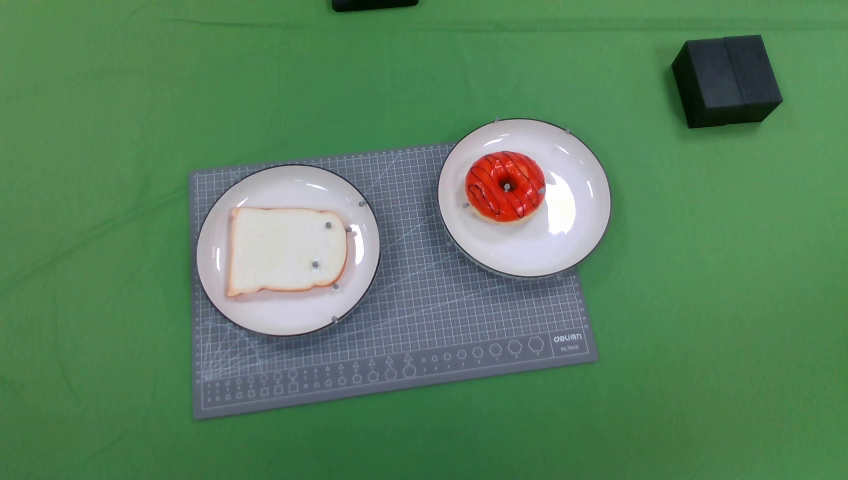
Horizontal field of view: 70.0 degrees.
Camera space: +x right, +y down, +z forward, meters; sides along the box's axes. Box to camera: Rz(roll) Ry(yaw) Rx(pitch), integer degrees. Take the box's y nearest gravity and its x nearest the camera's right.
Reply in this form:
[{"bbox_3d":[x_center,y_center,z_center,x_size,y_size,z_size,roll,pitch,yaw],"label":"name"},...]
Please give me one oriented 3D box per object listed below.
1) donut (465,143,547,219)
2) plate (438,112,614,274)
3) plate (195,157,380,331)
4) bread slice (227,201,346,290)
[{"bbox_3d":[0.097,-0.071,0.721,0.099,0.048,0.098,0,67,1],"label":"donut"},{"bbox_3d":[0.120,-0.055,0.729,0.208,0.039,0.206,1,71,-1],"label":"plate"},{"bbox_3d":[-0.154,0.006,0.699,0.209,0.038,0.207,1,71,-2],"label":"plate"},{"bbox_3d":[-0.158,0.002,0.701,0.134,0.018,0.106,-5,72,-4],"label":"bread slice"}]
